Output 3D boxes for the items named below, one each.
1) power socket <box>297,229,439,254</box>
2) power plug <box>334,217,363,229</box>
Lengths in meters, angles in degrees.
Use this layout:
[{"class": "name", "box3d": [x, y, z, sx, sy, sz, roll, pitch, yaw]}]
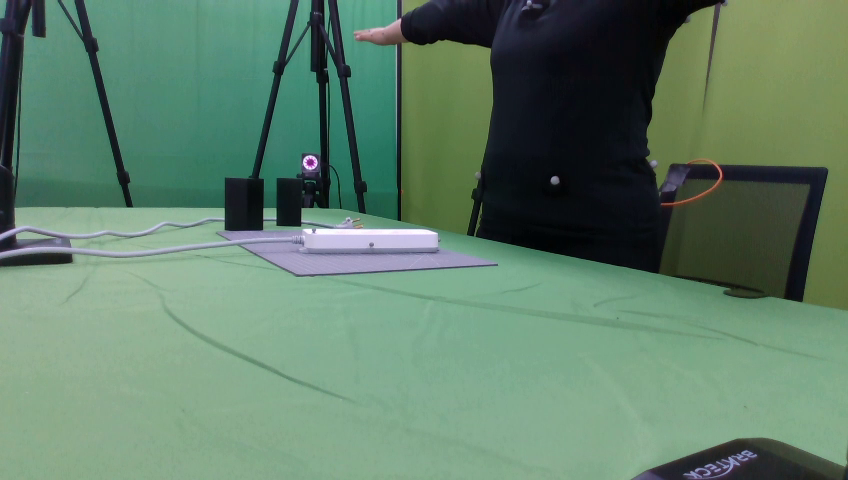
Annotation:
[{"class": "power socket", "box3d": [-0.084, 0.000, 0.942, 0.228, 0.032, 0.072, 0, 7, -20]}, {"class": "power plug", "box3d": [-0.143, -0.031, 1.129, 0.053, 0.035, 0.072, -16, 22, -9]}]
